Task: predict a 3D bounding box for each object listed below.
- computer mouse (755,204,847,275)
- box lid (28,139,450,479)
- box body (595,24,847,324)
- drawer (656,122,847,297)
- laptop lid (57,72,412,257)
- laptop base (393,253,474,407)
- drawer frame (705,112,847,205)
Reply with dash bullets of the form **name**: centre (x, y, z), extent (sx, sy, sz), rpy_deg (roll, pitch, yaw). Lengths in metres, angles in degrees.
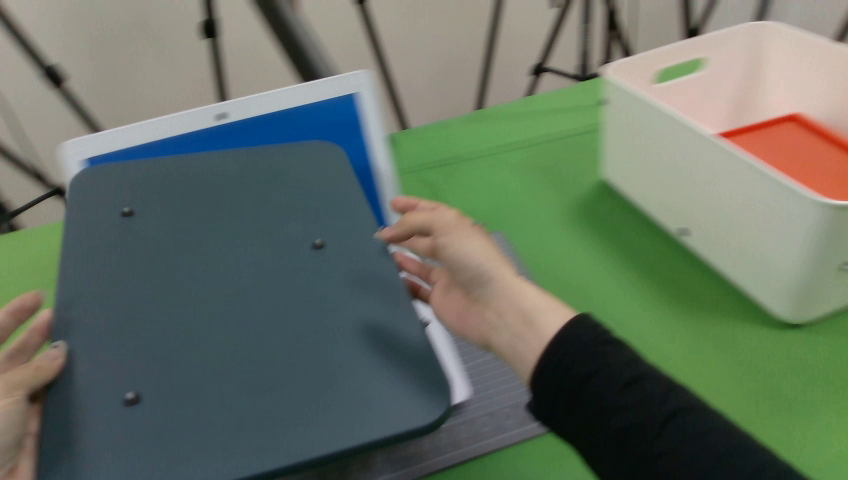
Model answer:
- **computer mouse**: centre (0.428, -0.003, 0.660), extent (0.117, 0.041, 0.062), rpy_deg (-17, 41, 4)
- **box lid**: centre (-0.155, 0.032, 0.494), extent (0.264, 0.015, 0.367), rpy_deg (-10, 44, -17)
- **box body**: centre (0.392, -0.095, 0.686), extent (0.254, 0.162, 0.360), rpy_deg (-19, 38, -12)
- **drawer**: centre (0.402, -0.046, 0.676), extent (0.195, 0.074, 0.209), rpy_deg (-15, 37, -8)
- **laptop lid**: centre (-0.210, -0.042, 0.707), extent (0.357, 0.242, 0.013), rpy_deg (-18, 8, -8)
- **laptop base**: centre (-0.148, 0.134, 0.633), extent (0.355, 0.023, 0.233), rpy_deg (-16, 40, -8)
- **drawer frame**: centre (0.400, -0.047, 0.676), extent (0.202, 0.083, 0.211), rpy_deg (-17, 37, -8)
